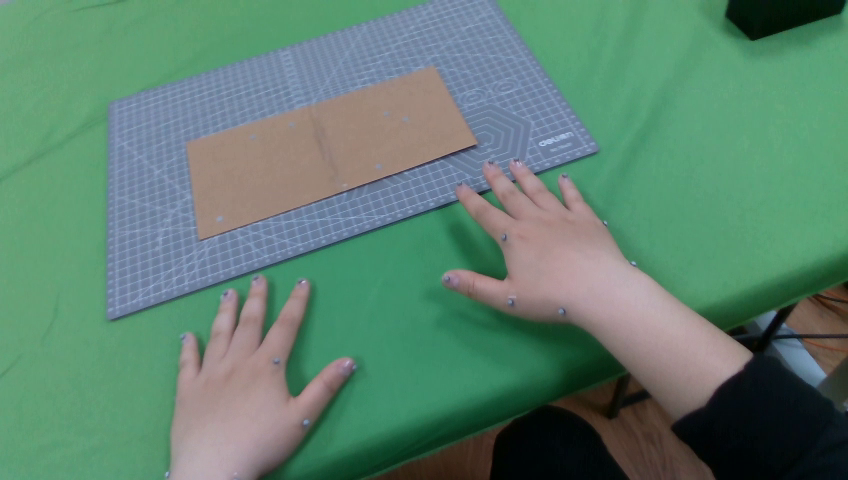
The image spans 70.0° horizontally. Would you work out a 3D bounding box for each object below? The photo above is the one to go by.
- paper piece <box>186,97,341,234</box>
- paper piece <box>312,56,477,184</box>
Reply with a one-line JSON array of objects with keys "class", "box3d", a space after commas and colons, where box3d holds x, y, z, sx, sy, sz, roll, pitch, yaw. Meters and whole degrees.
[{"class": "paper piece", "box3d": [-0.159, -0.078, 0.587, 0.138, 0.009, 0.134, -20, 51, -4]}, {"class": "paper piece", "box3d": [-0.033, -0.124, 0.597, 0.135, 0.004, 0.134, -20, 53, -4]}]
